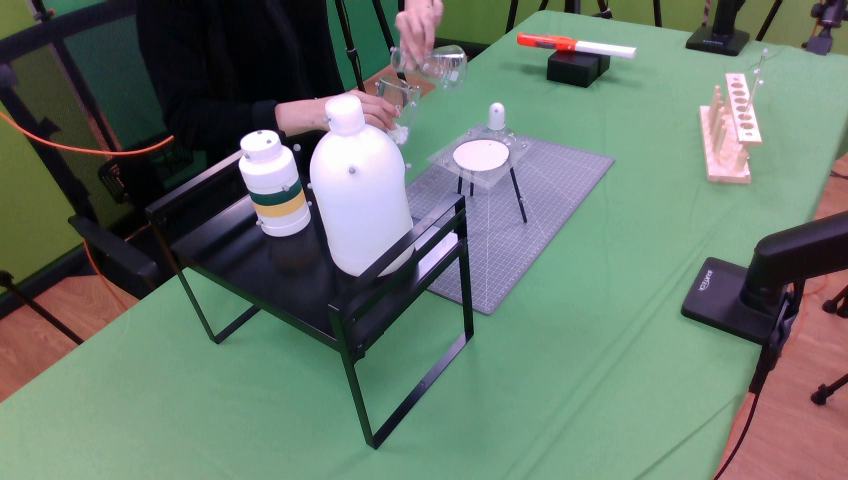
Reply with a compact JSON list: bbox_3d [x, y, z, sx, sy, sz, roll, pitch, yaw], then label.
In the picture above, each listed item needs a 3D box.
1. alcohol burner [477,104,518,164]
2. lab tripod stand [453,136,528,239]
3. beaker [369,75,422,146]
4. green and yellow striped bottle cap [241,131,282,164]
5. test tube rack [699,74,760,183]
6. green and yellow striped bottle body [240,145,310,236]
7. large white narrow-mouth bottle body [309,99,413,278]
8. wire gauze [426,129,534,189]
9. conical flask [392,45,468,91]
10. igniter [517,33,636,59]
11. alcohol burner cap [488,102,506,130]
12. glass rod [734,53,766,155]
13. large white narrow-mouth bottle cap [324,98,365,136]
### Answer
[{"bbox_3d":[0.135,-0.200,1.117,0.078,0.119,0.077,-4,43,4],"label":"alcohol burner"},{"bbox_3d":[0.094,-0.086,0.974,0.148,0.132,0.147,-4,43,4],"label":"lab tripod stand"},{"bbox_3d":[-0.050,-0.216,1.014,0.074,0.100,0.084,23,25,13],"label":"beaker"},{"bbox_3d":[-0.187,-0.107,0.695,0.045,0.020,0.045,-3,39,3],"label":"green and yellow striped bottle cap"},{"bbox_3d":[0.547,-0.208,1.095,0.066,0.085,0.242,6,42,16],"label":"test tube rack"},{"bbox_3d":[-0.181,-0.069,0.729,0.063,0.120,0.063,-4,40,4],"label":"green and yellow striped bottle body"},{"bbox_3d":[-0.068,-0.057,0.644,0.102,0.195,0.101,-3,42,4],"label":"large white narrow-mouth bottle body"},{"bbox_3d":[0.086,-0.131,0.924,0.124,0.011,0.122,26,52,33],"label":"wire gauze"},{"bbox_3d":[0.007,-0.292,1.002,0.123,0.075,0.074,0,32,-37],"label":"conical flask"},{"bbox_3d":[0.336,-0.441,1.369,0.275,0.025,0.057,16,41,23],"label":"igniter"},{"bbox_3d":[0.133,-0.227,1.092,0.034,0.048,0.033,-1,47,2],"label":"alcohol burner cap"},{"bbox_3d":[0.540,-0.220,1.006,0.008,0.201,0.008,-5,45,6],"label":"glass rod"},{"bbox_3d":[-0.076,-0.120,0.585,0.038,0.024,0.037,-3,42,3],"label":"large white narrow-mouth bottle cap"}]
